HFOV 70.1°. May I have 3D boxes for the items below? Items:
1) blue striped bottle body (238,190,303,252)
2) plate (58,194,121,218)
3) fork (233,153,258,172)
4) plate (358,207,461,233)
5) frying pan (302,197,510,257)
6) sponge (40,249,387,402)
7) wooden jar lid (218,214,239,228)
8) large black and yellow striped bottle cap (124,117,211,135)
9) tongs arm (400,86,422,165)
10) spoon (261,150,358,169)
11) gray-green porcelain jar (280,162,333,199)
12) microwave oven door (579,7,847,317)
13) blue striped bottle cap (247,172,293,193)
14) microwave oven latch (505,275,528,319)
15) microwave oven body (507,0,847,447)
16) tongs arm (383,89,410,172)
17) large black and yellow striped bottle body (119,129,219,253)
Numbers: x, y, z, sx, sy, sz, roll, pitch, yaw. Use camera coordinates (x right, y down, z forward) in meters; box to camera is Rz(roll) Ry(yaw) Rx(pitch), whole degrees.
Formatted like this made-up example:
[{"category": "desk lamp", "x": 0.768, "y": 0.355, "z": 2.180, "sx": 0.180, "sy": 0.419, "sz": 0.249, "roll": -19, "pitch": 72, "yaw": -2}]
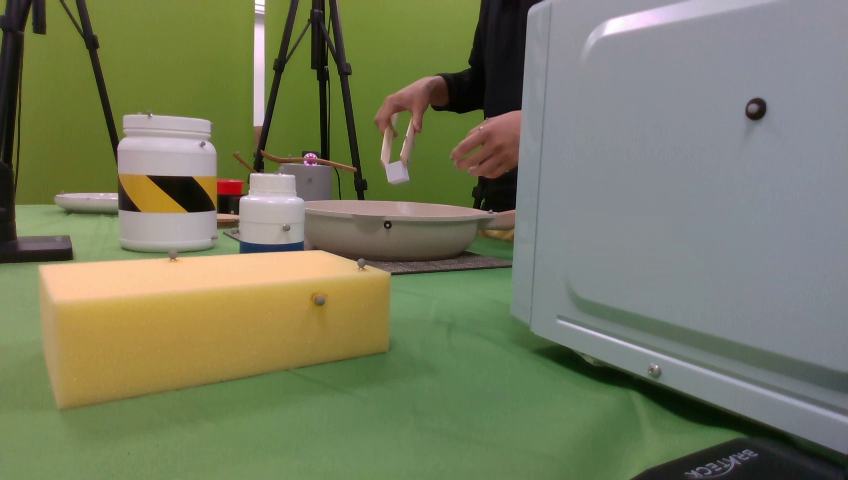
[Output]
[{"category": "blue striped bottle body", "x": -0.153, "y": -0.007, "z": 0.606, "sx": 0.063, "sy": 0.120, "sz": 0.063, "roll": 2, "pitch": 8, "yaw": 0}, {"category": "plate", "x": -0.671, "y": -0.074, "z": 1.310, "sx": 0.209, "sy": 0.038, "sz": 0.209, "roll": 2, "pitch": 8, "yaw": 0}, {"category": "fork", "x": -0.396, "y": -0.143, "z": 1.486, "sx": 0.028, "sy": 0.018, "sz": 0.208, "roll": 20, "pitch": -26, "yaw": 45}, {"category": "plate", "x": -0.030, "y": -0.041, "z": 1.213, "sx": 0.208, "sy": 0.039, "sz": 0.207, "roll": 3, "pitch": 6, "yaw": 0}, {"category": "frying pan", "x": 0.051, "y": -0.035, "z": 0.915, "sx": 0.487, "sy": 0.102, "sz": 0.307, "roll": -5, "pitch": 7, "yaw": 11}, {"category": "sponge", "x": -0.142, "y": 0.047, "z": 0.419, "sx": 0.208, "sy": 0.061, "sz": 0.117, "roll": -3, "pitch": 8, "yaw": -36}, {"category": "wooden jar lid", "x": -0.404, "y": -0.037, "z": 1.169, "sx": 0.108, "sy": 0.020, "sz": 0.108, "roll": 3, "pitch": 7, "yaw": 0}, {"category": "large black and yellow striped bottle cap", "x": -0.366, "y": -0.163, "z": 0.866, "sx": 0.115, "sy": 0.019, "sz": 0.115, "roll": 3, "pitch": 7, "yaw": 0}, {"category": "tongs arm", "x": -0.035, "y": -0.240, "z": 1.225, "sx": 0.050, "sy": 0.026, "sz": 0.384, "roll": -21, "pitch": 28, "yaw": 20}, {"category": "spoon", "x": -0.229, "y": -0.162, "z": 1.222, "sx": 0.194, "sy": 0.021, "sz": 0.041, "roll": 3, "pitch": 3, "yaw": -16}, {"category": "gray-green porcelain jar", "x": -0.238, "y": -0.092, "z": 1.221, "sx": 0.106, "sy": 0.126, "sz": 0.106, "roll": 2, "pitch": 7, "yaw": 0}, {"category": "microwave oven door", "x": 0.294, "y": -0.067, "z": 0.570, "sx": 0.358, "sy": 0.243, "sz": 0.039, "roll": -3, "pitch": 9, "yaw": -31}, {"category": "blue striped bottle cap", "x": -0.152, "y": -0.057, "z": 0.598, "sx": 0.044, "sy": 0.020, "sz": 0.044, "roll": 3, "pitch": 6, "yaw": 0}, {"category": "microwave oven latch", "x": 0.100, "y": 0.041, "z": 0.471, "sx": 0.079, "sy": 0.029, "sz": 0.030, "roll": -1, "pitch": 7, "yaw": -28}, {"category": "microwave oven body", "x": 0.331, "y": -0.042, "z": 0.425, "sx": 0.444, "sy": 0.260, "sz": 0.324, "roll": -2, "pitch": 8, "yaw": -31}, {"category": "tongs arm", "x": -0.056, "y": -0.231, "z": 1.231, "sx": 0.028, "sy": 0.028, "sz": 0.387, "roll": -26, "pitch": 27, "yaw": 18}, {"category": "large black and yellow striped bottle body", "x": -0.367, "y": -0.080, "z": 0.876, "sx": 0.131, "sy": 0.184, "sz": 0.130, "roll": 2, "pitch": 7, "yaw": 0}]
